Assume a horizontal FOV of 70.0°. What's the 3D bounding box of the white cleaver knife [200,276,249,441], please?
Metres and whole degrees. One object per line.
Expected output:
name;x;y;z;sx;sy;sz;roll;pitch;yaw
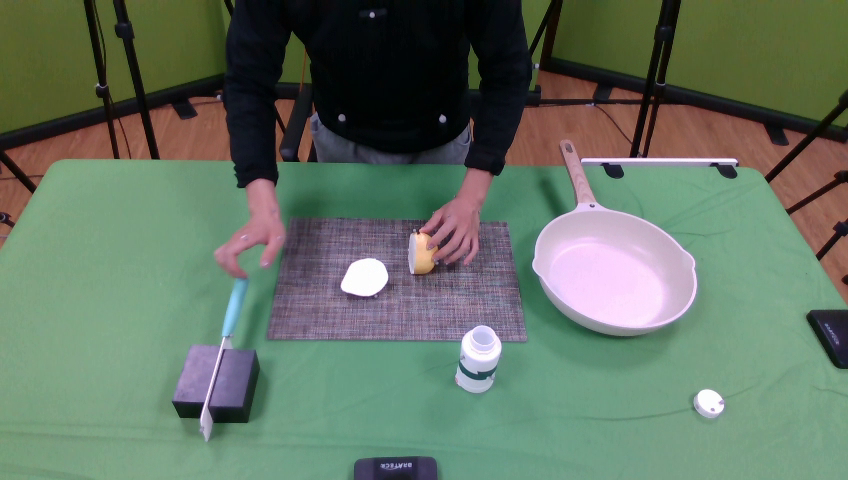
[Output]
white cleaver knife;-0.321;0.177;0.972;0.021;0.066;0.284;7;48;-5

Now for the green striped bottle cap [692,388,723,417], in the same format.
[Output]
green striped bottle cap;0.460;0.263;0.984;0.044;0.020;0.044;3;46;-3

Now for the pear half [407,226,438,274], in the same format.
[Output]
pear half;-0.001;0.012;1.120;0.056;0.110;0.076;-8;52;-13

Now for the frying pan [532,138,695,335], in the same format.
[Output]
frying pan;0.336;-0.024;1.190;0.307;0.103;0.484;-2;55;-7

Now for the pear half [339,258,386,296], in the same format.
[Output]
pear half;-0.112;0.073;1.106;0.088;0.031;0.070;-25;68;-11

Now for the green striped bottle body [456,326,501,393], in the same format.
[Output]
green striped bottle body;0.086;0.186;0.959;0.063;0.120;0.063;2;47;-2
